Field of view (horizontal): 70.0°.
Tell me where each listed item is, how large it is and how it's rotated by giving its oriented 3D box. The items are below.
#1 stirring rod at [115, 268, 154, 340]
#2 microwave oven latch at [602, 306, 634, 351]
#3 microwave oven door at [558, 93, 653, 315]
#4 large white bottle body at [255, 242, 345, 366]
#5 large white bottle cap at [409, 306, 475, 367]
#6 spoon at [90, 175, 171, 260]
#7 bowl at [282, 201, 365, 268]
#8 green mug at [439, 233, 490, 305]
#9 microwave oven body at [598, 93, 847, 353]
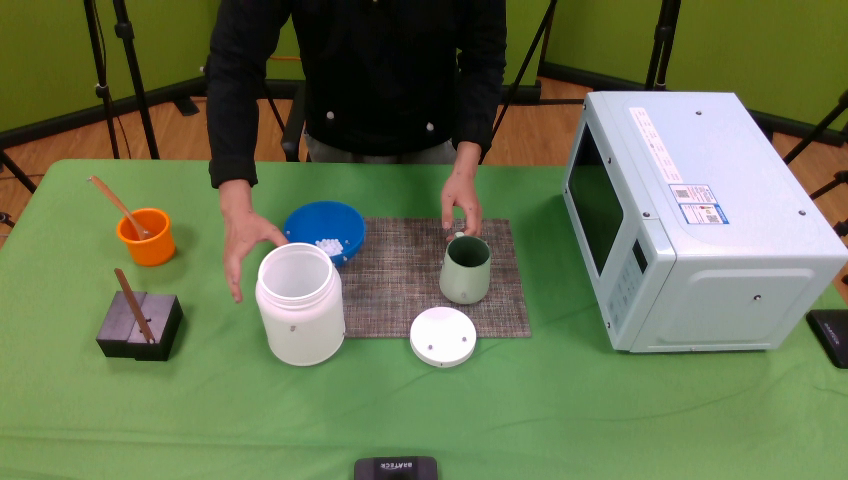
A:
[{"bbox_3d":[-0.479,0.102,0.999,0.014,0.006,0.175,7,32,-49],"label":"stirring rod"},{"bbox_3d":[0.332,0.153,1.044,0.030,0.029,0.078,0,45,-4],"label":"microwave oven latch"},{"bbox_3d":[0.327,-0.074,1.123,0.039,0.245,0.353,-1,46,-5],"label":"microwave oven door"},{"bbox_3d":[-0.196,0.102,0.968,0.131,0.185,0.130,2,50,-2],"label":"large white bottle body"},{"bbox_3d":[0.031,0.164,1.040,0.115,0.018,0.114,3,50,-3],"label":"large white bottle cap"},{"bbox_3d":[-0.539,-0.042,1.111,0.021,0.194,0.041,-13,27,53],"label":"spoon"},{"bbox_3d":[-0.186,0.005,1.137,0.151,0.077,0.150,3,46,-3],"label":"bowl"},{"bbox_3d":[0.072,0.044,1.102,0.092,0.105,0.124,-6,46,-9],"label":"green mug"},{"bbox_3d":[0.475,-0.041,1.109,0.326,0.261,0.438,-1,45,-4],"label":"microwave oven body"}]
